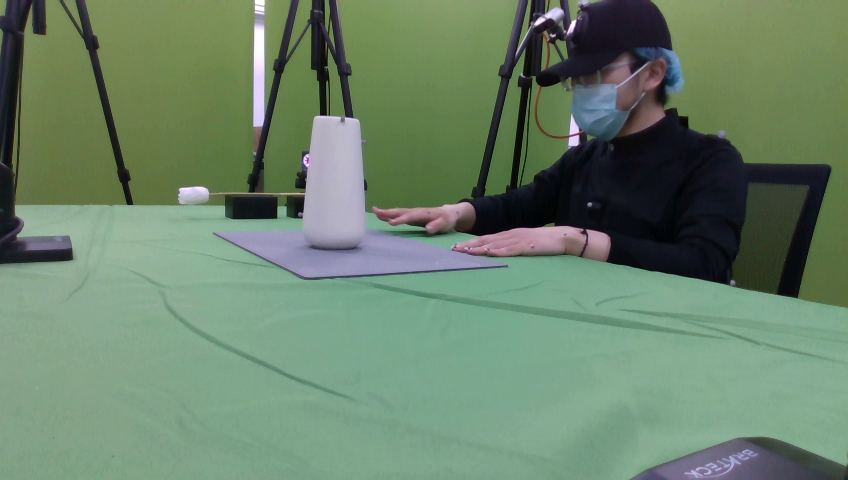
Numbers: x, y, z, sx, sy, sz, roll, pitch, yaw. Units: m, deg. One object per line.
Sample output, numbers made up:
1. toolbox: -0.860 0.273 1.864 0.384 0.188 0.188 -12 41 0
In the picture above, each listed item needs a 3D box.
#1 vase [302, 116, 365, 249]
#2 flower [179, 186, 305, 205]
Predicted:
1. vase: -0.139 -0.088 0.930 0.098 0.200 0.098 2 9 0
2. flower: -0.361 -0.109 1.365 0.364 0.038 0.044 -7 -6 -33
